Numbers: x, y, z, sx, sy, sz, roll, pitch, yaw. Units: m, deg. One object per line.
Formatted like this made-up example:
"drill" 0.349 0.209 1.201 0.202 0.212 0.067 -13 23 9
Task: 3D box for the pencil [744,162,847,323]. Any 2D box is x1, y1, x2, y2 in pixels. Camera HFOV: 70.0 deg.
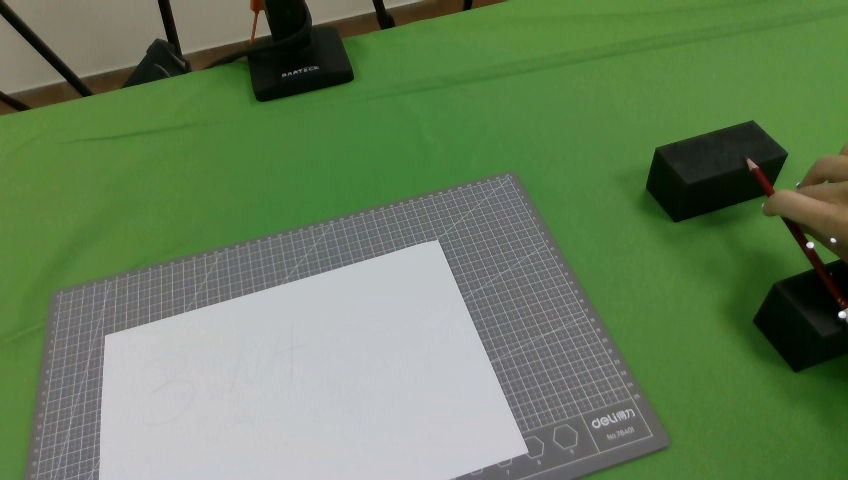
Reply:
"pencil" 0.288 0.003 0.461 0.012 0.012 0.192 -8 48 0
